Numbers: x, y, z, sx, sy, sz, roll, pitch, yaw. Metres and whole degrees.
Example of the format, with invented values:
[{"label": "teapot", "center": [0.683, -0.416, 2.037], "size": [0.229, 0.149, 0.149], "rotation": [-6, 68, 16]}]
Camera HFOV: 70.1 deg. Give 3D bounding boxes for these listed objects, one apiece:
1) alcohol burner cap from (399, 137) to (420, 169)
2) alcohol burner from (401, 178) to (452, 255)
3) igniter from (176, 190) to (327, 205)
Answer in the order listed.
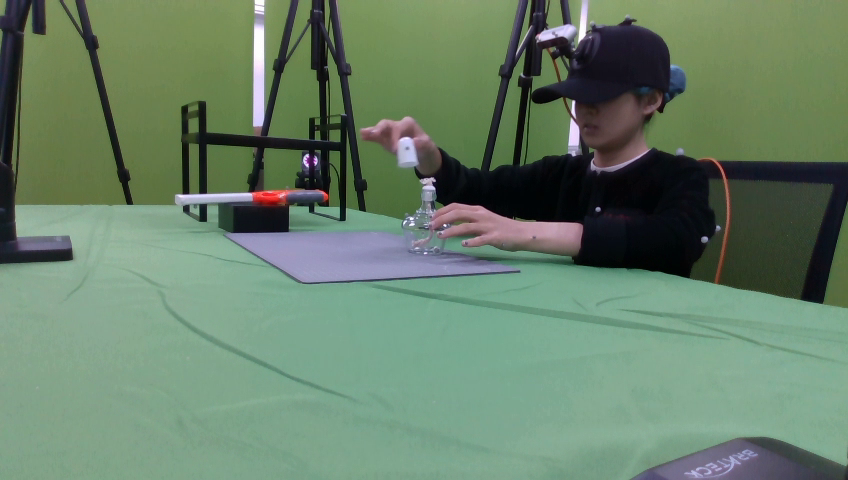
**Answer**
[{"label": "alcohol burner cap", "center": [-0.025, -0.137, 0.943], "size": [0.034, 0.048, 0.034], "rotation": [-8, -10, -1]}, {"label": "alcohol burner", "center": [0.005, -0.036, 0.922], "size": [0.078, 0.119, 0.078], "rotation": [5, 7, 0]}, {"label": "igniter", "center": [-0.316, -0.080, 1.137], "size": [0.278, 0.025, 0.057], "rotation": [-4, 12, -33]}]
